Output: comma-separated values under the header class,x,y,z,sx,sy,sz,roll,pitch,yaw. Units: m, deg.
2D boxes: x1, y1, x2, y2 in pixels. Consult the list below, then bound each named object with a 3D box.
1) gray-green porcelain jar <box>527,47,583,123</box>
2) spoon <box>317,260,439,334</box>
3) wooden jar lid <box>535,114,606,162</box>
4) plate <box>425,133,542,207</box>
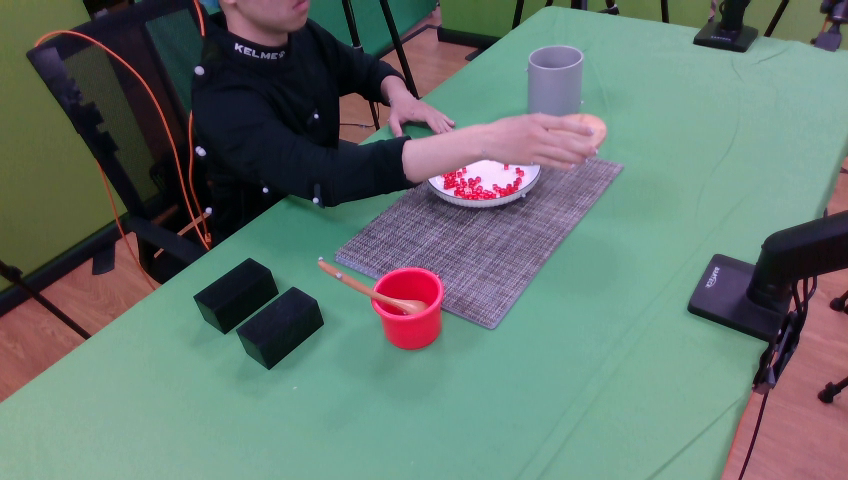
class,x,y,z,sx,sy,sz,roll,pitch,yaw
gray-green porcelain jar,0.260,-0.305,1.207,0.106,0.127,0.105,-4,41,4
spoon,-0.056,0.074,0.789,0.195,0.021,0.041,27,41,-21
wooden jar lid,0.226,-0.156,0.930,0.108,0.021,0.108,-13,41,12
plate,0.106,-0.122,1.079,0.207,0.039,0.206,-4,41,4
